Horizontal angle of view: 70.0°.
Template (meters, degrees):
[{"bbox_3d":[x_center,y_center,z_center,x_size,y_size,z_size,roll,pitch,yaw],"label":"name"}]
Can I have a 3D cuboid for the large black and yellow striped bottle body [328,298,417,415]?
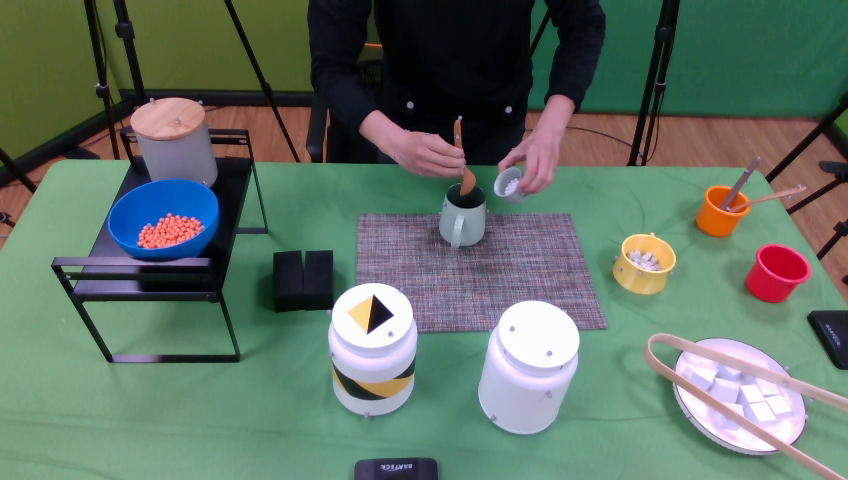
[{"bbox_3d":[-0.078,0.167,0.920,0.131,0.185,0.130,2,46,-2],"label":"large black and yellow striped bottle body"}]

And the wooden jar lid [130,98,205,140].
[{"bbox_3d":[-0.393,-0.183,0.934,0.108,0.021,0.107,2,44,-2],"label":"wooden jar lid"}]

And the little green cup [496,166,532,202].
[{"bbox_3d":[0.167,-0.101,1.112,0.061,0.039,0.061,-23,50,31],"label":"little green cup"}]

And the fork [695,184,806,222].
[{"bbox_3d":[0.658,-0.074,1.230,0.207,0.019,0.028,-23,35,37],"label":"fork"}]

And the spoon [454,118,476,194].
[{"bbox_3d":[0.066,-0.140,1.044,0.041,0.195,0.021,-42,57,-15],"label":"spoon"}]

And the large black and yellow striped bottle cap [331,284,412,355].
[{"bbox_3d":[-0.073,0.110,0.858,0.115,0.019,0.114,2,46,-2],"label":"large black and yellow striped bottle cap"}]

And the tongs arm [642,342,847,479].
[{"bbox_3d":[0.504,0.278,0.918,0.386,0.028,0.028,33,59,22],"label":"tongs arm"}]

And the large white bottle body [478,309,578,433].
[{"bbox_3d":[0.156,0.192,0.913,0.131,0.185,0.130,2,46,-2],"label":"large white bottle body"}]

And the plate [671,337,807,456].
[{"bbox_3d":[0.504,0.254,0.984,0.208,0.039,0.206,2,46,-2],"label":"plate"}]

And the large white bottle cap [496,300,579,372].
[{"bbox_3d":[0.160,0.133,0.852,0.115,0.018,0.114,3,46,-2],"label":"large white bottle cap"}]

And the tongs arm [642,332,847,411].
[{"bbox_3d":[0.546,0.227,0.968,0.384,0.026,0.050,22,52,13],"label":"tongs arm"}]

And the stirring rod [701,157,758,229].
[{"bbox_3d":[0.634,-0.097,1.257,0.014,0.006,0.176,38,97,30],"label":"stirring rod"}]

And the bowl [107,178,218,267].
[{"bbox_3d":[-0.374,-0.014,0.893,0.151,0.077,0.150,2,46,-2],"label":"bowl"}]

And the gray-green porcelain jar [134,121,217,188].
[{"bbox_3d":[-0.396,-0.141,0.979,0.106,0.127,0.105,2,47,-2],"label":"gray-green porcelain jar"}]

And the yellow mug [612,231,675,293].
[{"bbox_3d":[0.424,0.033,1.168,0.100,0.064,0.130,18,47,14],"label":"yellow mug"}]

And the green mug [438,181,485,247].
[{"bbox_3d":[0.071,-0.039,1.177,0.092,0.105,0.124,12,47,7],"label":"green mug"}]
